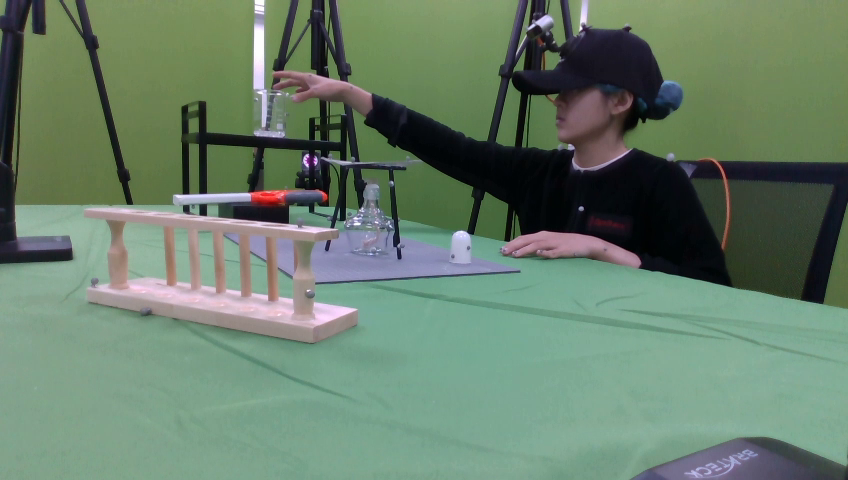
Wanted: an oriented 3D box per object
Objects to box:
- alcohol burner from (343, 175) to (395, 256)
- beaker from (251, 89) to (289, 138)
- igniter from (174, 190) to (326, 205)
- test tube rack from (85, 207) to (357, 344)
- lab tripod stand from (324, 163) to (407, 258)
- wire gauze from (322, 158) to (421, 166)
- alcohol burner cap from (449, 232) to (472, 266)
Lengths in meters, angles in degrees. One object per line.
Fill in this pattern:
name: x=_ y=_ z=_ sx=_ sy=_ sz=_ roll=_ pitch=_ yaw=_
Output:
alcohol burner: x=-0.079 y=-0.036 z=0.890 sx=0.078 sy=0.119 sz=0.078 roll=5 pitch=7 yaw=0
beaker: x=-0.334 y=-0.273 z=1.316 sx=0.084 sy=0.100 sz=0.074 roll=5 pitch=8 yaw=15
igniter: x=-0.317 y=-0.079 z=1.132 sx=0.278 sy=0.025 sz=0.057 roll=-4 pitch=12 yaw=-32
test tube rack: x=-0.177 y=0.022 z=0.518 sx=0.241 sy=0.085 sz=0.067 roll=6 pitch=7 yaw=23
lab tripod stand: x=-0.073 y=-0.047 z=0.900 sx=0.148 sy=0.131 sz=0.148 roll=2 pitch=5 yaw=0
wire gauze: x=-0.079 y=-0.114 z=0.893 sx=0.122 sy=0.011 sz=0.124 roll=0 pitch=6 yaw=-25
alcohol burner cap: x=0.052 y=0.012 z=0.843 sx=0.034 sy=0.048 sz=0.034 roll=2 pitch=6 yaw=0
